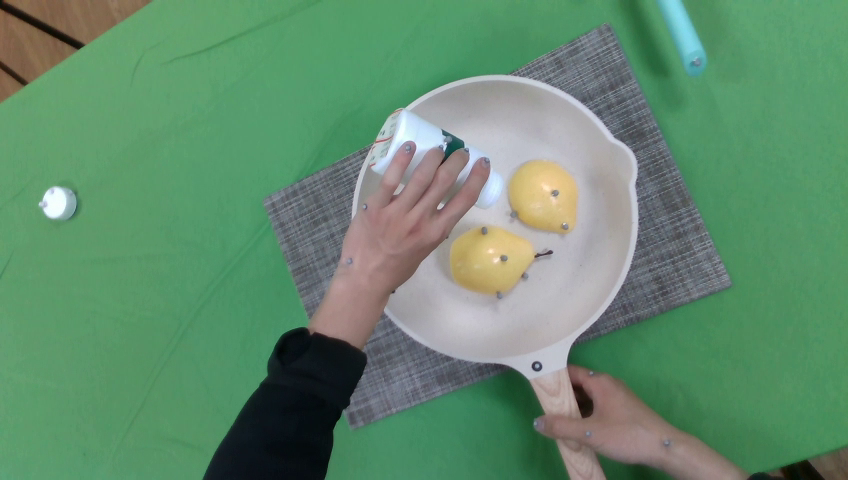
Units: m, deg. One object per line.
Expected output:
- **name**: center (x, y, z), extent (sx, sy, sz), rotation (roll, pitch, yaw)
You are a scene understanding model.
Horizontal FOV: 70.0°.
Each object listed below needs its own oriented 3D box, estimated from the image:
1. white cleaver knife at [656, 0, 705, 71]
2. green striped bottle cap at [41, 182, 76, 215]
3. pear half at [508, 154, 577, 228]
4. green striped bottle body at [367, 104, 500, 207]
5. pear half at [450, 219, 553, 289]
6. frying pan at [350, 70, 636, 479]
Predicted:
- **white cleaver knife**: center (0.217, -0.299, 0.604), extent (0.021, 0.066, 0.285), rotation (-22, 82, 19)
- **green striped bottle cap**: center (-0.496, -0.056, 0.823), extent (0.044, 0.020, 0.044), rotation (0, 90, 16)
- **pear half**: center (0.126, -0.051, 0.641), extent (0.070, 0.031, 0.087), rotation (-40, 77, 17)
- **green striped bottle body**: center (0.013, -0.073, 0.563), extent (0.120, 0.062, 0.063), rotation (23, 97, -24)
- **pear half**: center (0.081, 0.014, 0.643), extent (0.109, 0.056, 0.076), rotation (-10, 93, 13)
- **frying pan**: center (0.100, 0.071, 0.613), extent (0.306, 0.103, 0.485), rotation (-22, 76, 15)
